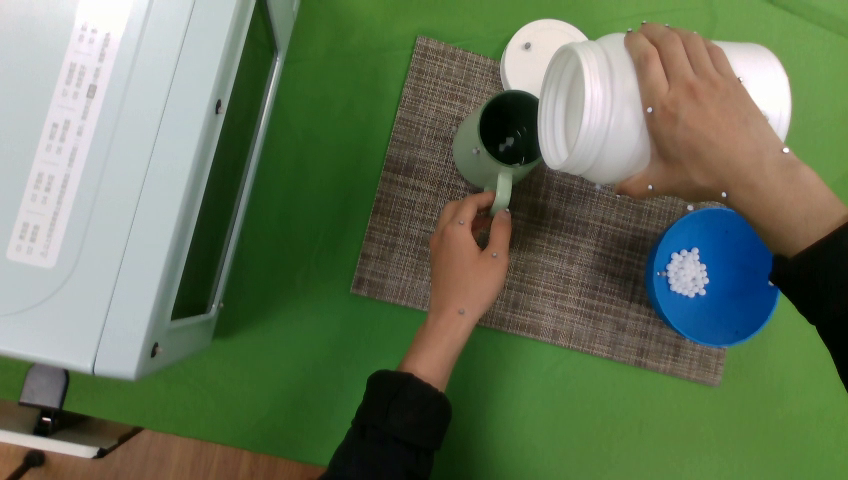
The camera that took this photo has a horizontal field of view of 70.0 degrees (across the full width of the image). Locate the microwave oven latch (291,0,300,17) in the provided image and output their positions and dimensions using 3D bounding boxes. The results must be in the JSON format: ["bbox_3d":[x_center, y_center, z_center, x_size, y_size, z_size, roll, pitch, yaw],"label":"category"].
[{"bbox_3d":[-0.139,-0.277,0.636,0.030,0.029,0.079,15,85,-8],"label":"microwave oven latch"}]

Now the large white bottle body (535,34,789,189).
[{"bbox_3d":[0.205,-0.113,0.545,0.185,0.130,0.130,1,86,-10],"label":"large white bottle body"}]

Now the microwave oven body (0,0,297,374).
[{"bbox_3d":[-0.308,-0.148,0.503,0.327,0.260,0.440,14,85,-8],"label":"microwave oven body"}]

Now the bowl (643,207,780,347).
[{"bbox_3d":[0.307,0.042,0.682,0.152,0.077,0.151,1,86,-8],"label":"bowl"}]

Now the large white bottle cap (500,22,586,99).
[{"bbox_3d":[0.146,-0.195,0.700,0.115,0.018,0.114,1,82,-10],"label":"large white bottle cap"}]

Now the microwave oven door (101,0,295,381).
[{"bbox_3d":[-0.175,-0.073,0.515,0.039,0.243,0.355,13,84,-7],"label":"microwave oven door"}]

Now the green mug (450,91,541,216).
[{"bbox_3d":[0.079,-0.087,0.640,0.093,0.105,0.125,7,85,-9],"label":"green mug"}]
